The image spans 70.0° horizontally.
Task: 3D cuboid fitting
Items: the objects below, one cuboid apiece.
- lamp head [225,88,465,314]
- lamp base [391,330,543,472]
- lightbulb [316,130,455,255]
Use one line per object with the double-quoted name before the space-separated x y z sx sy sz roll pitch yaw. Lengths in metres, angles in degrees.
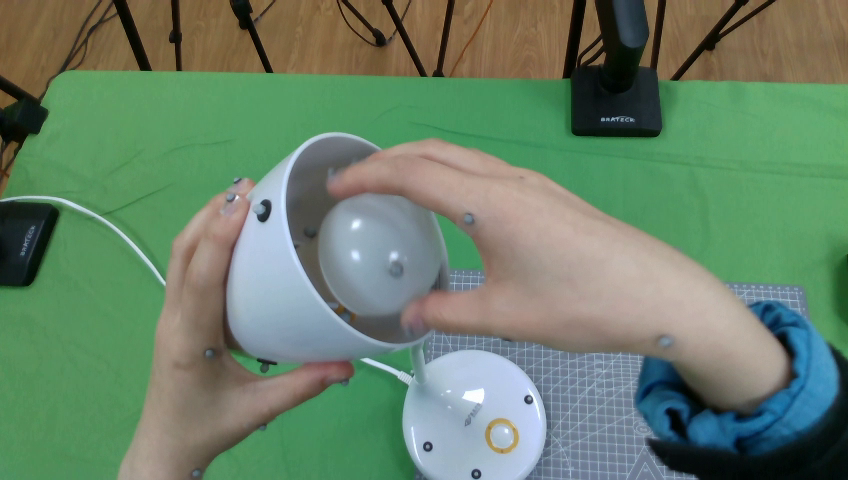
"lamp head" -0.052 -0.006 0.339 0.113 0.123 0.111 22 54 -33
"lamp base" 0.039 0.145 0.625 0.179 0.182 0.159 9 65 10
"lightbulb" -0.029 -0.015 0.308 0.060 0.107 0.059 16 63 -35
